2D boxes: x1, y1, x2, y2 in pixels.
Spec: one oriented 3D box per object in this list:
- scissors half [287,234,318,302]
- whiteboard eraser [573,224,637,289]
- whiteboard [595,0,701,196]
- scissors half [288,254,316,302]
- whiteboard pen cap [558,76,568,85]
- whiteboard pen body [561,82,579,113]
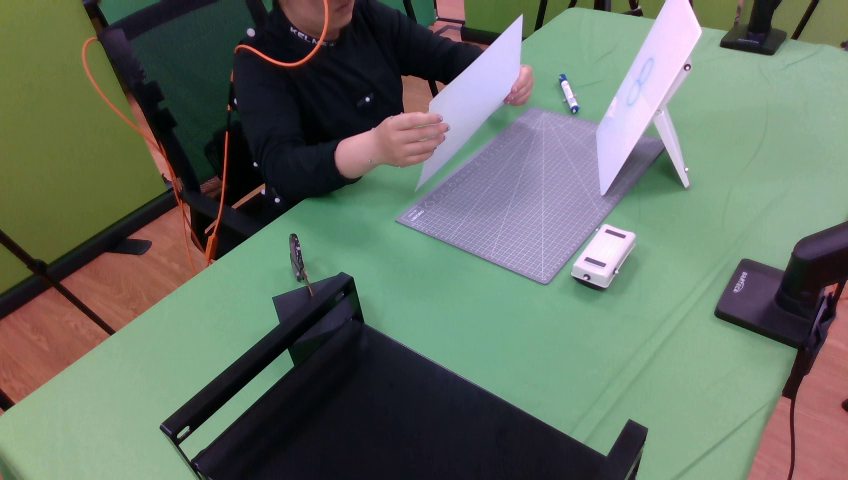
[{"bbox_3d":[-0.178,0.040,0.885,0.013,0.040,0.173,-11,37,-21],"label":"scissors half"},{"bbox_3d":[0.267,0.025,0.891,0.055,0.042,0.113,19,47,31],"label":"whiteboard eraser"},{"bbox_3d":[0.421,-0.227,1.010,0.144,0.305,0.216,18,42,-2],"label":"whiteboard"},{"bbox_3d":[-0.178,0.058,0.894,0.013,0.040,0.174,-16,20,-18],"label":"scissors half"},{"bbox_3d":[0.309,-0.350,1.340,0.018,0.018,0.033,-6,41,2],"label":"whiteboard pen cap"},{"bbox_3d":[0.310,-0.312,1.297,0.017,0.017,0.140,-6,41,2],"label":"whiteboard pen body"}]
